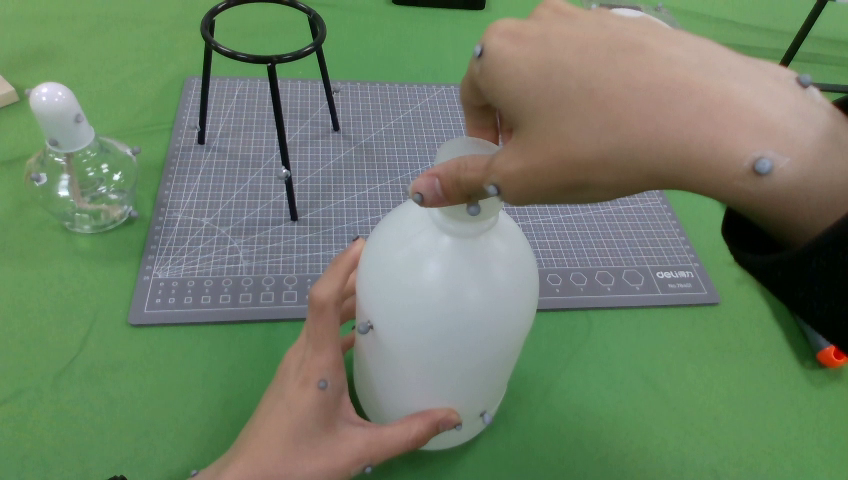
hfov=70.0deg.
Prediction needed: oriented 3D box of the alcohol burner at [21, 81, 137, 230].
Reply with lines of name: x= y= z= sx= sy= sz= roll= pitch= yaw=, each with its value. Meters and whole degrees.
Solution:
alcohol burner: x=-0.255 y=-0.065 z=0.442 sx=0.078 sy=0.120 sz=0.077 roll=5 pitch=47 yaw=-5

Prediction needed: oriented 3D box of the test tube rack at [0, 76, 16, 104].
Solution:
test tube rack: x=-0.475 y=-0.116 z=0.472 sx=0.066 sy=0.086 sz=0.242 roll=38 pitch=54 yaw=22

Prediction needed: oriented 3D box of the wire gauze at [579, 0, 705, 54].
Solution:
wire gauze: x=0.236 y=-0.243 z=0.678 sx=0.122 sy=0.011 sz=0.123 roll=1 pitch=49 yaw=-10

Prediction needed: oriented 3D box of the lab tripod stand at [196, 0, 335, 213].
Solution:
lab tripod stand: x=-0.123 y=-0.116 z=0.490 sx=0.149 sy=0.132 sz=0.147 roll=6 pitch=49 yaw=-6

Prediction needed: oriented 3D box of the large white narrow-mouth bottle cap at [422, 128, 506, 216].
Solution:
large white narrow-mouth bottle cap: x=0.018 y=-0.031 z=0.273 sx=0.038 sy=0.024 sz=0.037 roll=4 pitch=48 yaw=-4

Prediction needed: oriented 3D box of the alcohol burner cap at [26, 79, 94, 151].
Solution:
alcohol burner cap: x=-0.251 y=-0.087 z=0.414 sx=0.034 sy=0.048 sz=0.033 roll=3 pitch=55 yaw=-4

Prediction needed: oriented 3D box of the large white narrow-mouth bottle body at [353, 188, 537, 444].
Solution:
large white narrow-mouth bottle body: x=0.010 y=0.032 z=0.343 sx=0.102 sy=0.196 sz=0.101 roll=4 pitch=48 yaw=-4

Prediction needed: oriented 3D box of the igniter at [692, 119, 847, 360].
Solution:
igniter: x=0.303 y=-0.015 z=0.540 sx=0.057 sy=0.025 sz=0.273 roll=8 pitch=48 yaw=-16
